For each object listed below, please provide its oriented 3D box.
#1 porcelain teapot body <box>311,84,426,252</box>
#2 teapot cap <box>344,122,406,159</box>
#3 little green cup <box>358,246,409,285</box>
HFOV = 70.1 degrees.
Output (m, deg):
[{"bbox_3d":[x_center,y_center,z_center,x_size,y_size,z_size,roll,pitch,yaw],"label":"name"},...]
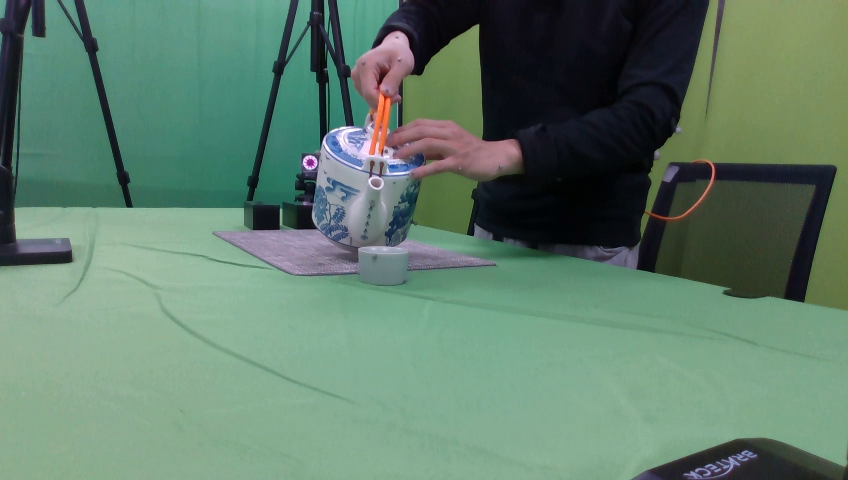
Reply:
[{"bbox_3d":[-0.069,-0.086,0.814,0.146,0.225,0.205,8,33,-13],"label":"porcelain teapot body"},{"bbox_3d":[-0.065,-0.136,0.816,0.085,0.044,0.085,10,35,-7],"label":"teapot cap"},{"bbox_3d":[-0.048,0.029,0.707,0.061,0.038,0.061,2,8,0],"label":"little green cup"}]
